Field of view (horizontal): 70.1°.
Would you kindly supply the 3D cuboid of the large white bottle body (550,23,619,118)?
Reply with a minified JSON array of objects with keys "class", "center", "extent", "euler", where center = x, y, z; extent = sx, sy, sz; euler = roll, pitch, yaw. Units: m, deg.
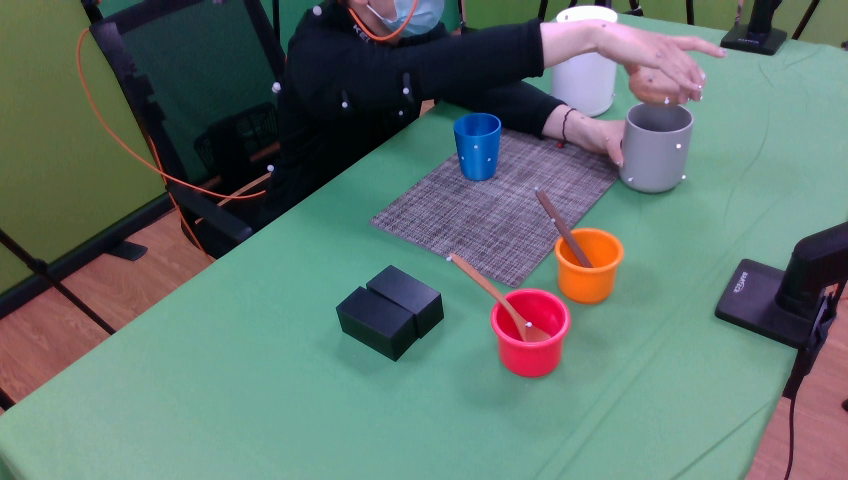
[{"class":"large white bottle body","center":[0.320,-0.356,1.218],"extent":[0.130,0.185,0.130],"euler":[-4,41,4]}]

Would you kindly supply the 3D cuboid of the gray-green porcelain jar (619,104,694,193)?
[{"class":"gray-green porcelain jar","center":[0.387,-0.151,1.016],"extent":[0.106,0.127,0.105],"euler":[-4,40,4]}]

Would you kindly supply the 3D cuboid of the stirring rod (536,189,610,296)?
[{"class":"stirring rod","center":[0.211,0.003,0.854],"extent":[0.014,0.006,0.176],"euler":[-32,88,-28]}]

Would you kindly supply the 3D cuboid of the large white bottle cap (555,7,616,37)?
[{"class":"large white bottle cap","center":[0.311,-0.420,1.163],"extent":[0.115,0.018,0.114],"euler":[-4,41,4]}]

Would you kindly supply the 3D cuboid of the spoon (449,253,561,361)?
[{"class":"spoon","center":[0.103,0.083,0.770],"extent":[0.194,0.021,0.042],"euler":[47,51,-7]}]

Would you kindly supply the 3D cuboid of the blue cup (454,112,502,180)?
[{"class":"blue cup","center":[0.097,-0.166,1.088],"extent":[0.092,0.100,0.092],"euler":[-3,41,3]}]

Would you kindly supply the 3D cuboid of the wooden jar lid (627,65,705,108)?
[{"class":"wooden jar lid","center":[0.361,-0.229,0.905],"extent":[0.108,0.021,0.108],"euler":[-8,41,8]}]
